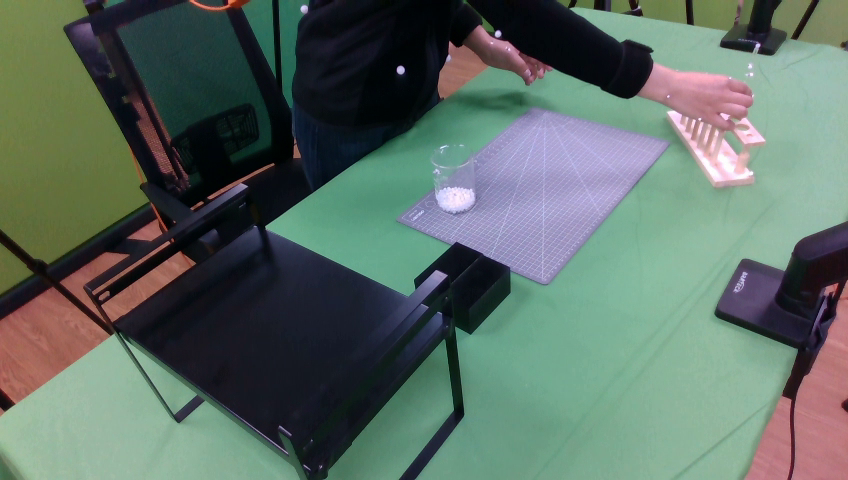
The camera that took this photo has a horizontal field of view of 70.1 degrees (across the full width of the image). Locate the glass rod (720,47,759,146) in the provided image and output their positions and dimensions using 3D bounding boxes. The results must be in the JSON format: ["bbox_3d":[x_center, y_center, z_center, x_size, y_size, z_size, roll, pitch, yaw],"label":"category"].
[{"bbox_3d":[0.527,-0.234,1.018,0.008,0.200,0.008,-2,49,3],"label":"glass rod"}]

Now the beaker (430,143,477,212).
[{"bbox_3d":[0.050,-0.105,1.026,0.074,0.101,0.083,-26,43,-21],"label":"beaker"}]

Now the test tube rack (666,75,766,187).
[{"bbox_3d":[0.512,-0.202,1.082,0.067,0.085,0.241,-5,41,2],"label":"test tube rack"}]
